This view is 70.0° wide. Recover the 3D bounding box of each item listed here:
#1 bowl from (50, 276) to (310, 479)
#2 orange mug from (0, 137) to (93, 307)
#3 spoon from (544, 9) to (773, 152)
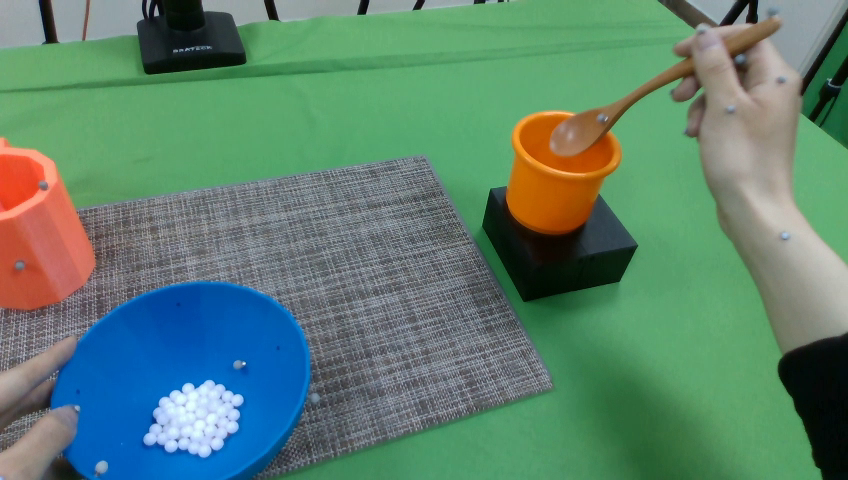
[{"bbox_3d":[-0.149,0.105,0.400,0.151,0.077,0.150,4,47,-4],"label":"bowl"},{"bbox_3d":[-0.328,-0.023,0.482,0.083,0.101,0.125,-19,57,-23],"label":"orange mug"},{"bbox_3d":[0.162,-0.114,0.453,0.022,0.193,0.041,19,65,-25],"label":"spoon"}]
